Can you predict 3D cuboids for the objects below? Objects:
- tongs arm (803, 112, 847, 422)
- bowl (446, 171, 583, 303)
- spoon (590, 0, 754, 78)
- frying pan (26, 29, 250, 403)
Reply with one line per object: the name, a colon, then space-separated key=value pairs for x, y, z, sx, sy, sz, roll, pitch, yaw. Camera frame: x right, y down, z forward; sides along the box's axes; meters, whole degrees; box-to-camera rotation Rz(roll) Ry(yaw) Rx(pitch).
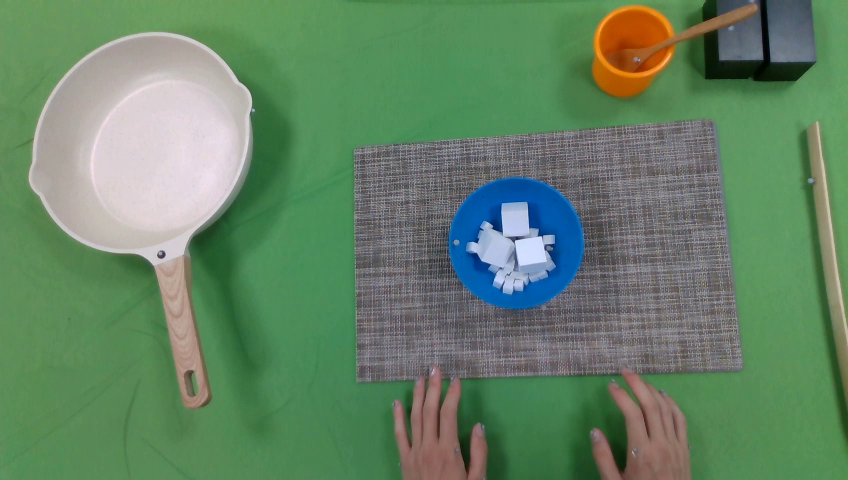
tongs arm: x=0.469 y=0.041 z=0.686 sx=0.028 sy=0.028 sz=0.386 roll=-4 pitch=80 yaw=5
bowl: x=0.104 y=0.002 z=0.706 sx=0.151 sy=0.077 sz=0.151 roll=-1 pitch=81 yaw=7
spoon: x=0.275 y=-0.232 z=0.692 sx=0.022 sy=0.193 sz=0.041 roll=2 pitch=81 yaw=-37
frying pan: x=-0.328 y=-0.033 z=0.755 sx=0.307 sy=0.103 sz=0.484 roll=-20 pitch=70 yaw=4
